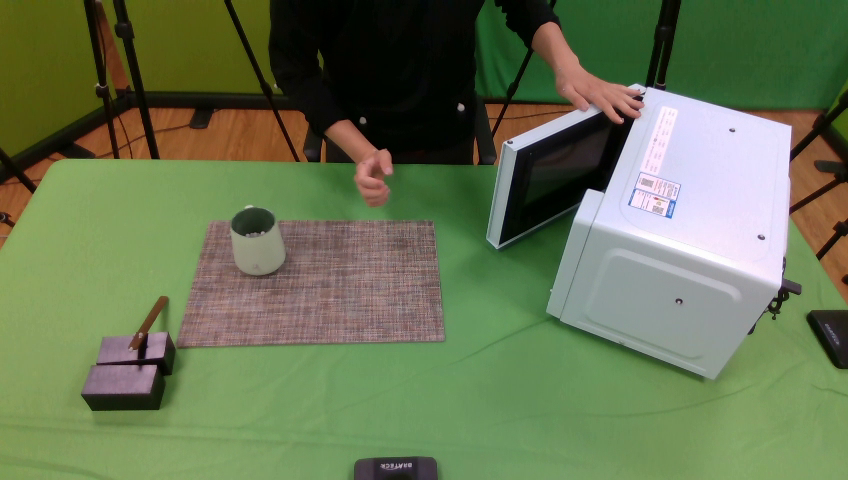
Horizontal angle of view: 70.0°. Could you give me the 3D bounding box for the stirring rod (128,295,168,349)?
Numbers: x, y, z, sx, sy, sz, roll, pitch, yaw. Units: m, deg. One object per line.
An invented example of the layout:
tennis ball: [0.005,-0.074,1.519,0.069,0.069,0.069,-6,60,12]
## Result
stirring rod: [-0.451,0.131,0.996,0.014,0.006,0.175,9,21,-10]

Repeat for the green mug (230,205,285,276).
green mug: [-0.311,-0.008,1.118,0.092,0.105,0.124,-14,49,-16]

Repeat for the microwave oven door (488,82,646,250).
microwave oven door: [0.280,-0.147,1.181,0.356,0.245,0.039,-27,52,-26]

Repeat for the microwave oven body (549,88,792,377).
microwave oven body: [0.456,-0.028,1.088,0.325,0.261,0.440,20,47,16]

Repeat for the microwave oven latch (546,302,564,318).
microwave oven latch: [0.242,0.102,1.081,0.030,0.029,0.079,22,48,17]
